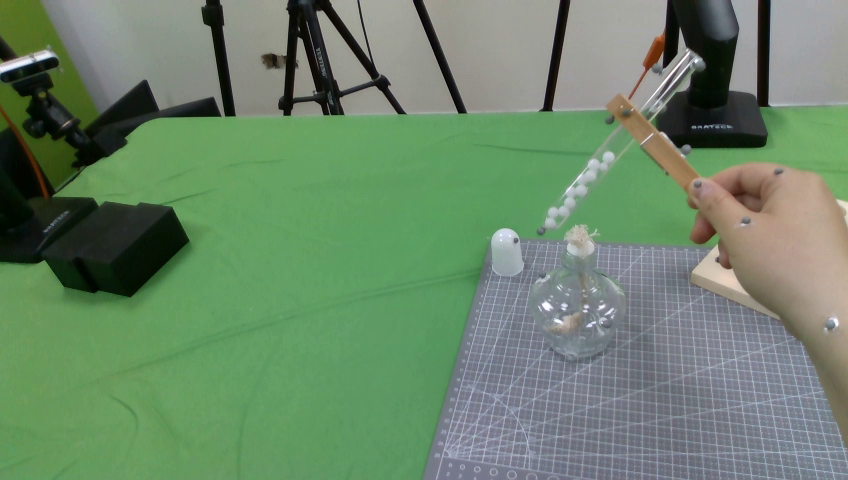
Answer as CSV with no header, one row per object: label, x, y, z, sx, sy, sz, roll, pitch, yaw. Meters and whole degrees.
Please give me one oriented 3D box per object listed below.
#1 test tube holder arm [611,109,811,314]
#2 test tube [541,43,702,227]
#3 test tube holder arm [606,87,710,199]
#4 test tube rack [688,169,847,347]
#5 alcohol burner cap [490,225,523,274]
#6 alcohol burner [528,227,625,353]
test tube holder arm,0.180,-0.028,0.390,0.015,0.013,0.177,-42,70,23
test tube,0.130,-0.067,0.415,0.017,0.150,0.017,30,24,-15
test tube holder arm,0.152,-0.064,0.397,0.087,0.015,0.010,52,22,10
test tube rack,0.339,0.030,0.464,0.067,0.086,0.240,-37,45,-28
alcohol burner cap,0.079,0.006,0.590,0.034,0.048,0.033,-6,40,5
alcohol burner,0.122,0.035,0.486,0.078,0.120,0.077,-5,41,5
